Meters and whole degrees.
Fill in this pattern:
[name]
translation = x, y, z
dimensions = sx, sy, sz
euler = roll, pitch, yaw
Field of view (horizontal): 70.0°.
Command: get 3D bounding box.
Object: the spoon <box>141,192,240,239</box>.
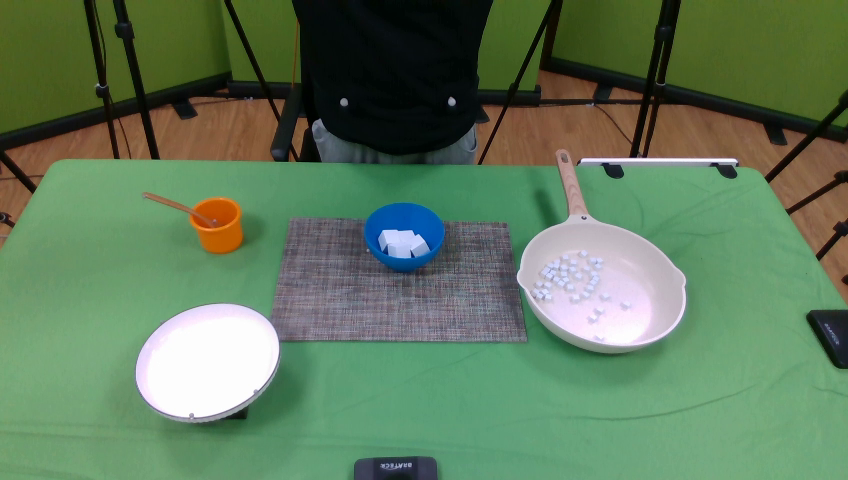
[spoon]
translation = -0.428, -0.048, 1.123
dimensions = 0.021, 0.195, 0.041
euler = -39, 44, 20

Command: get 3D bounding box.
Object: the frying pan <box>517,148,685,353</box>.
[frying pan]
translation = 0.311, 0.002, 1.163
dimensions = 0.307, 0.103, 0.484
euler = 0, 55, -5

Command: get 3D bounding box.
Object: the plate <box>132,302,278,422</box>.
[plate]
translation = -0.325, 0.186, 0.916
dimensions = 0.208, 0.039, 0.206
euler = 3, 44, -2

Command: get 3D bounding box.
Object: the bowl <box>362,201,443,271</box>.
[bowl]
translation = -0.041, 0.006, 1.145
dimensions = 0.151, 0.077, 0.150
euler = 2, 46, -2
